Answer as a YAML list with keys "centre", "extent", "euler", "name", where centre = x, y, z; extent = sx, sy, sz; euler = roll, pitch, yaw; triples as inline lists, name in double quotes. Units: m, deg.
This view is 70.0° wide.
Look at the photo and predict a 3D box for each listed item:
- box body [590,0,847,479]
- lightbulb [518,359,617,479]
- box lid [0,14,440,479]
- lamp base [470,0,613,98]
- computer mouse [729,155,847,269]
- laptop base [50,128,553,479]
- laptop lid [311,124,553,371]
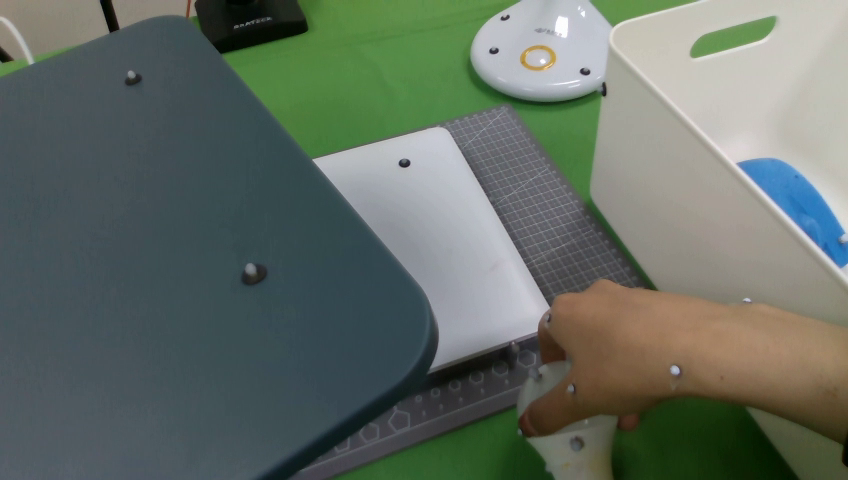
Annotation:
- centre: [0.300, -0.006, 0.391]
  extent: [0.254, 0.162, 0.360]
  euler: [-18, 52, -10]
  name: "box body"
- centre: [0.092, 0.126, 0.366]
  extent: [0.059, 0.060, 0.107]
  euler: [-11, 74, -5]
  name: "lightbulb"
- centre: [-0.189, -0.002, 0.300]
  extent: [0.263, 0.015, 0.367]
  euler: [-30, 50, -16]
  name: "box lid"
- centre: [0.128, -0.264, 0.601]
  extent: [0.160, 0.182, 0.178]
  euler: [9, 50, 11]
  name: "lamp base"
- centre: [0.280, -0.023, 0.478]
  extent: [0.063, 0.041, 0.116]
  euler: [-17, 57, -12]
  name: "computer mouse"
- centre: [-0.107, 0.032, 0.480]
  extent: [0.355, 0.023, 0.233]
  euler: [-17, 55, -10]
  name: "laptop base"
- centre: [-0.107, 0.027, 0.470]
  extent: [0.357, 0.013, 0.239]
  euler: [-16, 54, -9]
  name: "laptop lid"
